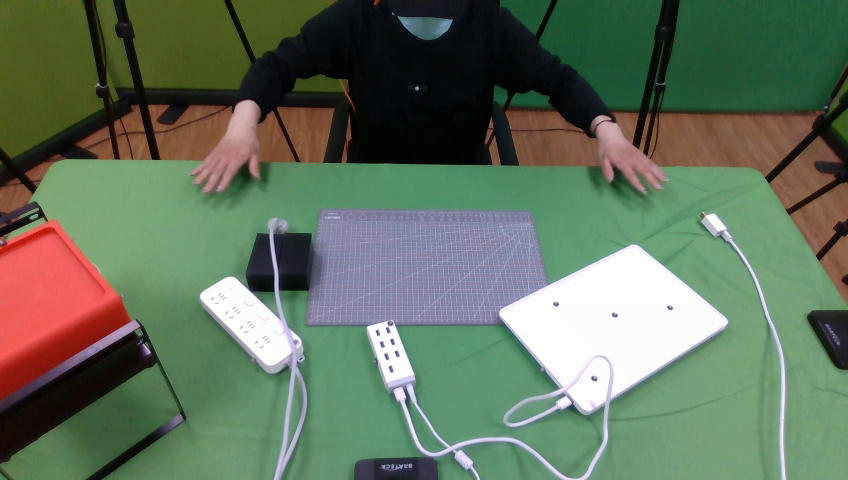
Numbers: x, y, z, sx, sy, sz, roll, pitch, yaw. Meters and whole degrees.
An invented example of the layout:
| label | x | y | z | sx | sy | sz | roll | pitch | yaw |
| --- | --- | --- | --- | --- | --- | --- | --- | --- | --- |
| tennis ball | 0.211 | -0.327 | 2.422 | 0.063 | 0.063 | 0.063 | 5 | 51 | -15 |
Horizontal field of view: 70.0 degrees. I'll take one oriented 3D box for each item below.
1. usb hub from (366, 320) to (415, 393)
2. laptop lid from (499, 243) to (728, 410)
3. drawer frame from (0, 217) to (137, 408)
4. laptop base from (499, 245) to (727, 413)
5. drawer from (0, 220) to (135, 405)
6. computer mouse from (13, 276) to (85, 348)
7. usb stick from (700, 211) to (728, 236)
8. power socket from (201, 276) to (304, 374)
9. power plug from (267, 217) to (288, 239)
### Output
| label | x | y | z | sx | sy | sz | roll | pitch | yaw |
| --- | --- | --- | --- | --- | --- | --- | --- | --- | --- |
| usb hub | -0.056 | 0.192 | 1.009 | 0.049 | 0.025 | 0.124 | -12 | 49 | -16 |
| laptop lid | 0.338 | 0.135 | 1.081 | 0.357 | 0.013 | 0.240 | -21 | 50 | -23 |
| drawer frame | -0.523 | 0.094 | 0.779 | 0.200 | 0.083 | 0.213 | 37 | 55 | 26 |
| laptop base | 0.339 | 0.145 | 1.088 | 0.354 | 0.023 | 0.234 | -23 | 49 | -24 |
| drawer | -0.522 | 0.093 | 0.782 | 0.193 | 0.073 | 0.211 | 38 | 55 | 27 |
| computer mouse | -0.497 | 0.090 | 0.804 | 0.063 | 0.041 | 0.116 | -7 | 42 | -7 |
| usb stick | 0.606 | -0.038 | 1.273 | 0.027 | 0.021 | 0.059 | -19 | 57 | -20 |
| power socket | -0.296 | 0.141 | 1.034 | 0.225 | 0.033 | 0.072 | 37 | 55 | 26 |
| power plug | -0.286 | -0.014 | 1.168 | 0.035 | 0.053 | 0.072 | -14 | 37 | 23 |
